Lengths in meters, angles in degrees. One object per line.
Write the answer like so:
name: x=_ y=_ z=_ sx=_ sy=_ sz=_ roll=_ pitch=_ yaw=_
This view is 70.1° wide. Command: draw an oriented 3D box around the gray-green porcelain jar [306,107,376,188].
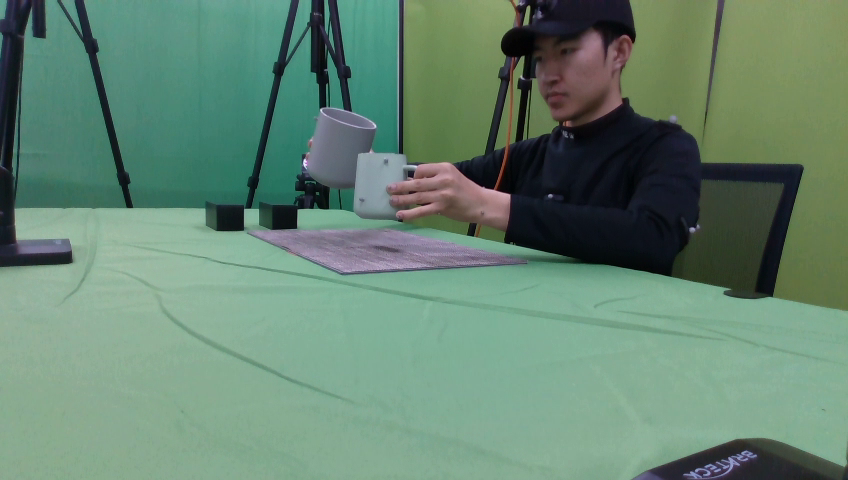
gray-green porcelain jar: x=-0.155 y=-0.167 z=1.110 sx=0.106 sy=0.126 sz=0.105 roll=17 pitch=21 yaw=-6

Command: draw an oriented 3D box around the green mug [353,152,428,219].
green mug: x=-0.053 y=-0.088 z=0.976 sx=0.125 sy=0.105 sz=0.093 roll=3 pitch=6 yaw=20
